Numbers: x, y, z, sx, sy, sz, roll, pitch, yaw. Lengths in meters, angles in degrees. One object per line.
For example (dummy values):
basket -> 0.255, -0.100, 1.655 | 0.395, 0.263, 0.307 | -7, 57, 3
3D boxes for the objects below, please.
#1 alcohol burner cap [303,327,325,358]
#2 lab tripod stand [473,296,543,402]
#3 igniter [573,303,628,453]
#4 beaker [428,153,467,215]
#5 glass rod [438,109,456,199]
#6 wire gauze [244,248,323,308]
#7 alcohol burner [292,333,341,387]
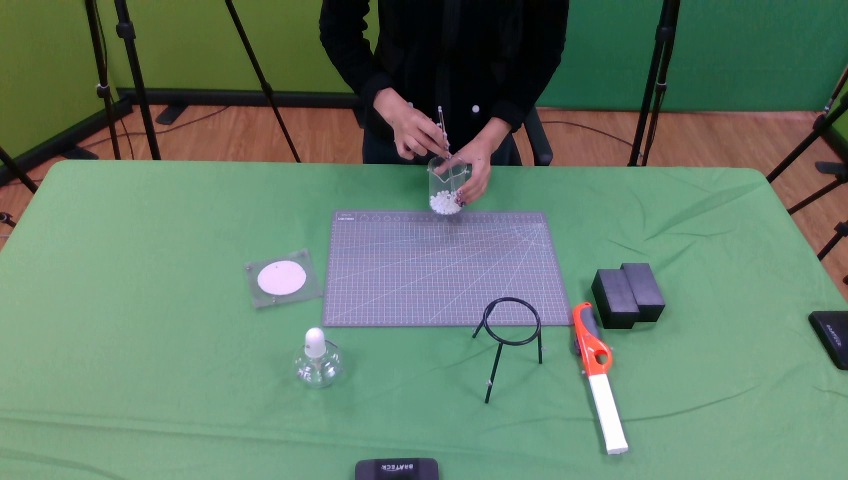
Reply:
alcohol burner cap -> -0.169, 0.154, 0.925 | 0.034, 0.048, 0.033 | 4, 41, -3
lab tripod stand -> 0.132, 0.168, 0.969 | 0.148, 0.132, 0.147 | 3, 48, -3
igniter -> 0.288, 0.216, 1.006 | 0.057, 0.025, 0.274 | -9, 46, 8
beaker -> 0.044, -0.104, 1.172 | 0.074, 0.101, 0.083 | 5, 43, 7
glass rod -> 0.043, -0.158, 1.144 | 0.008, 0.201, 0.008 | -7, 39, 6
wire gauze -> -0.262, 0.071, 1.121 | 0.125, 0.011, 0.120 | -11, 48, -17
alcohol burner -> -0.170, 0.179, 0.950 | 0.078, 0.120, 0.077 | 2, 48, -2
